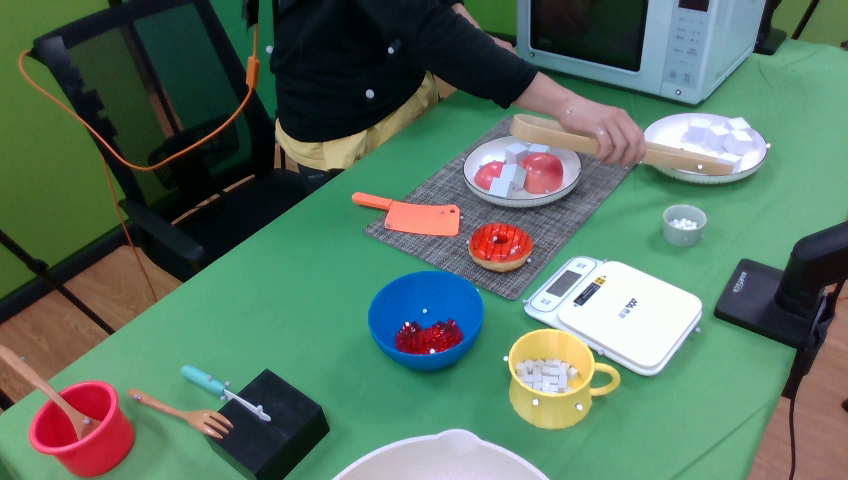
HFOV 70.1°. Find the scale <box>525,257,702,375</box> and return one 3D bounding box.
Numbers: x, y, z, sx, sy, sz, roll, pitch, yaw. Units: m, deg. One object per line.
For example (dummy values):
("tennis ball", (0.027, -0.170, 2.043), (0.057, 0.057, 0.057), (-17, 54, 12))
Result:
("scale", (0.254, 0.091, 0.821), (0.199, 0.032, 0.149), (28, 51, 35))

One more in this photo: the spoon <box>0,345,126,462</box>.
("spoon", (-0.434, 0.192, 0.720), (0.194, 0.021, 0.042), (47, 53, -6))

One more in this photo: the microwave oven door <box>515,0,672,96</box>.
("microwave oven door", (0.343, -0.454, 1.259), (0.353, 0.245, 0.039), (26, 51, 33))

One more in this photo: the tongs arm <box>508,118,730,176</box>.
("tongs arm", (0.318, -0.138, 0.955), (0.390, 0.028, 0.028), (9, 34, -15))

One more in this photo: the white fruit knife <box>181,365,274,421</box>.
("white fruit knife", (-0.245, 0.187, 0.747), (0.205, 0.027, 0.016), (9, 41, 41))

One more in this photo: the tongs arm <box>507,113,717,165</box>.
("tongs arm", (0.314, -0.152, 0.977), (0.386, 0.026, 0.050), (11, 30, -12))

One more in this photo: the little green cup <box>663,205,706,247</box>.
("little green cup", (0.396, -0.020, 0.926), (0.061, 0.039, 0.061), (-4, 40, 4))

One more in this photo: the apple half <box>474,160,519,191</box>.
("apple half", (0.130, -0.120, 1.068), (0.081, 0.033, 0.081), (-4, 36, 3))

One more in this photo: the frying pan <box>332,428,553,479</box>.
("frying pan", (-0.089, 0.306, 0.564), (0.487, 0.103, 0.306), (10, 41, 7))

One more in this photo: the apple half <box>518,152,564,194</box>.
("apple half", (0.204, -0.124, 1.048), (0.075, 0.053, 0.080), (-7, 41, -3))

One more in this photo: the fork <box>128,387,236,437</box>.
("fork", (-0.305, 0.207, 0.744), (0.206, 0.019, 0.028), (3, 41, 36))

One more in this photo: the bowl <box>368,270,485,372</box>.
("bowl", (0.007, 0.118, 0.791), (0.151, 0.077, 0.150), (-4, 40, 4))

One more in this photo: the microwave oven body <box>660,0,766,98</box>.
("microwave oven body", (0.472, -0.513, 1.317), (0.438, 0.261, 0.327), (26, 51, 34))

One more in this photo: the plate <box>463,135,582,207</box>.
("plate", (0.173, -0.119, 1.070), (0.209, 0.038, 0.208), (-4, 40, 4))

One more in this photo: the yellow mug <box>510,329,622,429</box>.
("yellow mug", (0.168, 0.164, 0.721), (0.130, 0.064, 0.099), (0, 40, 8))

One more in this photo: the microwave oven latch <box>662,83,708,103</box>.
("microwave oven latch", (0.518, -0.296, 1.204), (0.078, 0.029, 0.030), (28, 52, 35))

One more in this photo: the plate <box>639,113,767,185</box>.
("plate", (0.489, -0.157, 1.074), (0.207, 0.039, 0.206), (-4, 40, 4))

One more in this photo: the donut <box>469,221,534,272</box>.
("donut", (0.118, 0.009, 0.923), (0.099, 0.048, 0.098), (-3, 39, 3))

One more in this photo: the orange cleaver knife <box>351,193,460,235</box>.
("orange cleaver knife", (-0.036, -0.044, 1.029), (0.210, 0.012, 0.077), (10, 48, 18))
